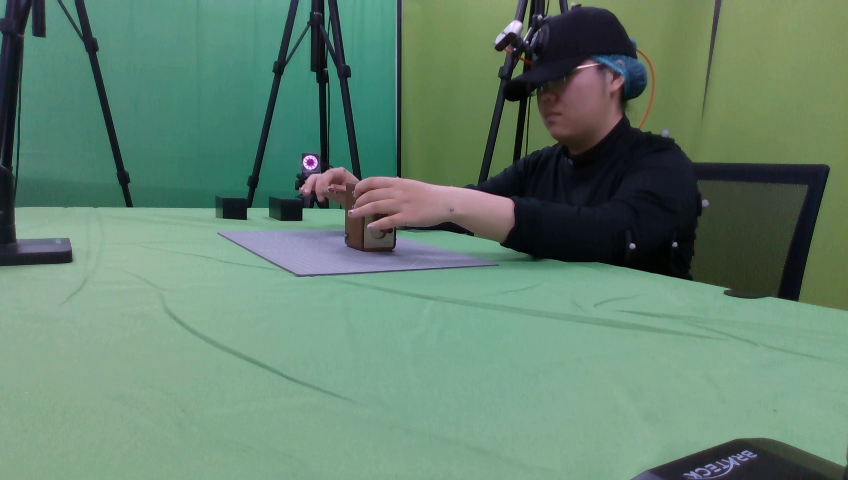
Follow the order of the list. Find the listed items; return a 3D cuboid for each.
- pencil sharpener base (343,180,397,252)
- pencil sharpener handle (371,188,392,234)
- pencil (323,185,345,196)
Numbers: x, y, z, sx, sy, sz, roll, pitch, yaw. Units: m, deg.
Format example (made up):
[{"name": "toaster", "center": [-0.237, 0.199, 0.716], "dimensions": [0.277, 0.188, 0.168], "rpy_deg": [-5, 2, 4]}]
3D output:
[{"name": "pencil sharpener base", "center": [-0.085, -0.039, 0.957], "dimensions": [0.062, 0.107, 0.076], "rpy_deg": [-1, 9, -31]}, {"name": "pencil sharpener handle", "center": [-0.059, -0.044, 0.913], "dimensions": [0.036, 0.067, 0.030], "rpy_deg": [1, 8, -32]}, {"name": "pencil", "center": [-0.139, -0.080, 1.043], "dimensions": [0.012, 0.012, 0.193], "rpy_deg": [-1, 11, -29]}]
